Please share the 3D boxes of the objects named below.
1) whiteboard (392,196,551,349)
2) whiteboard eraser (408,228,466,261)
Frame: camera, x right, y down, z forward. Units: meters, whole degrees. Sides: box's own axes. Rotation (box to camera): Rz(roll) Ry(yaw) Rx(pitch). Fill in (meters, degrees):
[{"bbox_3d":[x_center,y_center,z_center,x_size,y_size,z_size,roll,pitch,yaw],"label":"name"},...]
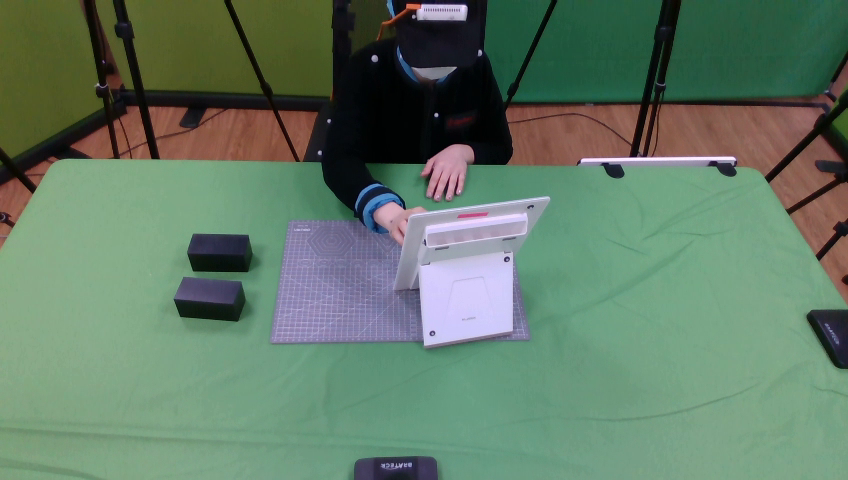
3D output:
[{"bbox_3d":[0.077,0.071,0.977,0.217,0.306,0.143,-7,67,-11],"label":"whiteboard"},{"bbox_3d":[0.020,0.007,0.988,0.101,0.041,0.018,-25,65,22],"label":"whiteboard eraser"}]
